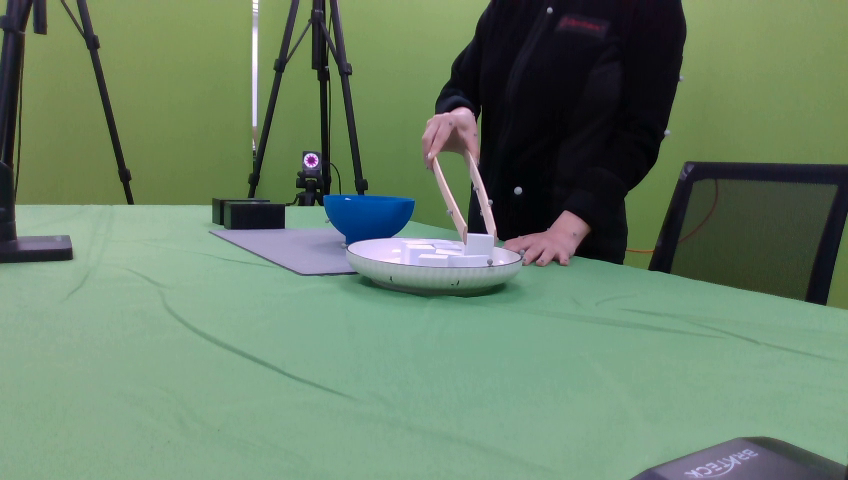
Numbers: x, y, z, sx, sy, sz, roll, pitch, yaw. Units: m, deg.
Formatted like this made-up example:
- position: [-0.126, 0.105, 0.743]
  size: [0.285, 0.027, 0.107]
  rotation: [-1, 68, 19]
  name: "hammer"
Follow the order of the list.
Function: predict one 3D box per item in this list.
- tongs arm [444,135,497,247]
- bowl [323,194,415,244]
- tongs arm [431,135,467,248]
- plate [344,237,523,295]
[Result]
- position: [0.059, -0.085, 0.864]
  size: [0.051, 0.026, 0.384]
  rotation: [-1, 26, 0]
  name: "tongs arm"
- position: [-0.091, -0.032, 0.986]
  size: [0.151, 0.077, 0.151]
  rotation: [2, 7, 0]
  name: "bowl"
- position: [0.035, -0.084, 0.862]
  size: [0.028, 0.028, 0.386]
  rotation: [-6, 26, -2]
  name: "tongs arm"
- position: [0.010, 0.030, 0.707]
  size: [0.208, 0.039, 0.207]
  rotation: [3, 8, 0]
  name: "plate"
